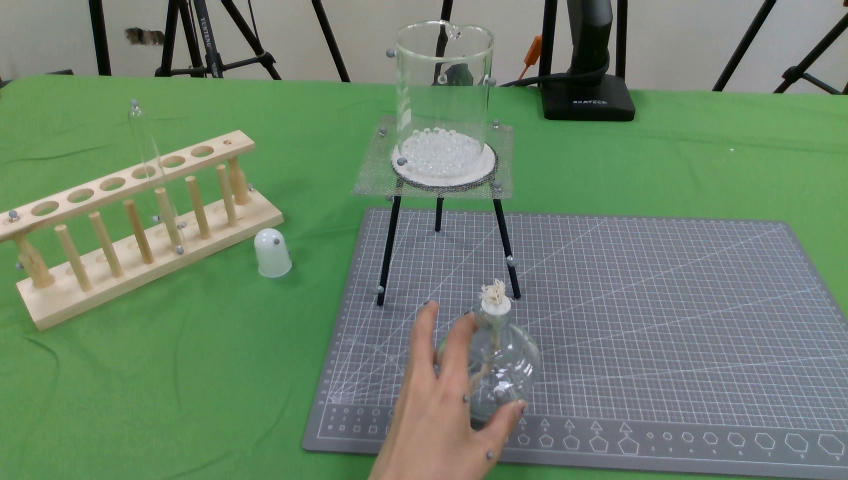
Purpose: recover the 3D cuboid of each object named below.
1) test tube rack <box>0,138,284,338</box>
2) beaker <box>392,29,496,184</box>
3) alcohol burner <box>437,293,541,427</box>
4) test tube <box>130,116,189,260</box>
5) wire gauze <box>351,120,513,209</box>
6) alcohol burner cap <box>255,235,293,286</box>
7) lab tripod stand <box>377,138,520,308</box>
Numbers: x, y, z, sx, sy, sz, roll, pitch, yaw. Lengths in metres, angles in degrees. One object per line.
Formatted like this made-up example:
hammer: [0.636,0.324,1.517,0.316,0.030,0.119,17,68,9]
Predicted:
test tube rack: [-0.264,-0.011,0.583,0.242,0.086,0.066,-28,46,-30]
beaker: [0.015,-0.102,0.467,0.074,0.101,0.083,10,39,10]
alcohol burner: [0.048,0.081,0.439,0.078,0.120,0.077,0,41,0]
test tube: [-0.240,-0.043,0.553,0.017,0.151,0.017,0,38,0]
wire gauze: [0.012,-0.063,0.496,0.121,0.011,0.124,4,41,5]
alcohol burner cap: [-0.146,0.017,0.583,0.034,0.048,0.033,0,39,0]
lab tripod stand: [0.022,-0.012,0.538,0.148,0.132,0.147,1,38,0]
